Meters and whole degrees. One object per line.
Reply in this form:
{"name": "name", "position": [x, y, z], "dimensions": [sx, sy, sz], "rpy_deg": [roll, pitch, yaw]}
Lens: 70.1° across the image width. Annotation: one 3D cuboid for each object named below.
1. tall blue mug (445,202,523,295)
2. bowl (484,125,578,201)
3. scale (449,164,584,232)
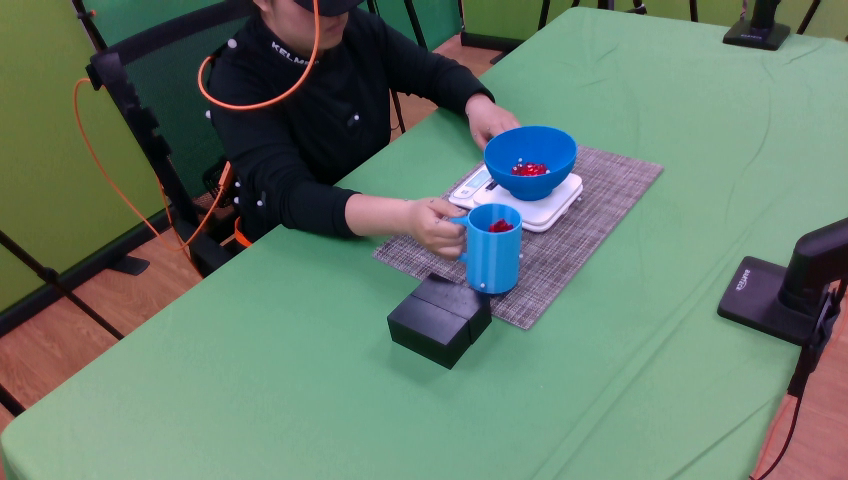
{"name": "tall blue mug", "position": [0.083, 0.012, 0.854], "dimensions": [0.107, 0.108, 0.077], "rpy_deg": [0, 38, 3]}
{"name": "bowl", "position": [0.176, -0.117, 0.992], "dimensions": [0.151, 0.077, 0.150], "rpy_deg": [-6, 40, 5]}
{"name": "scale", "position": [0.156, -0.085, 1.040], "dimensions": [0.199, 0.032, 0.149], "rpy_deg": [22, 49, 32]}
